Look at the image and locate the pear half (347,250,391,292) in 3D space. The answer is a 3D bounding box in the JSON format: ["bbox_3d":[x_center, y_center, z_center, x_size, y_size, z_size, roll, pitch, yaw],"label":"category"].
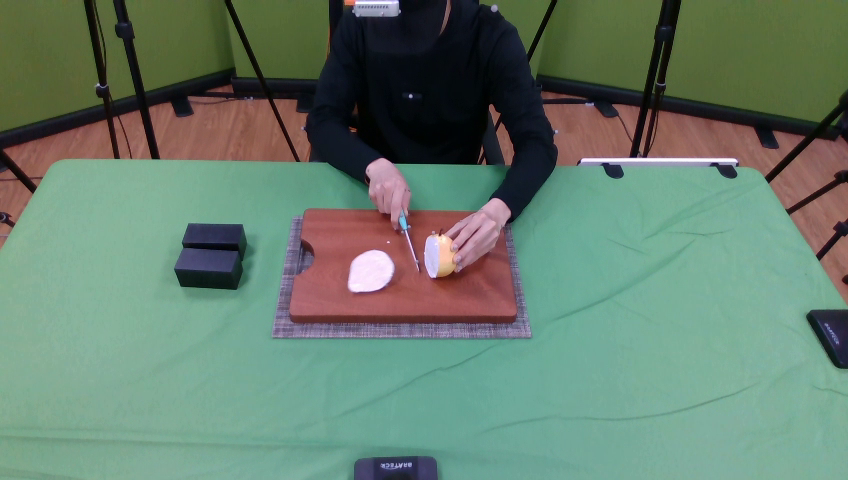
[{"bbox_3d":[-0.100,0.056,1.073,0.088,0.031,0.070,-41,96,2],"label":"pear half"}]

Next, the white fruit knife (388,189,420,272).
[{"bbox_3d":[-0.037,-0.022,1.161,0.016,0.027,0.206,-15,57,-9],"label":"white fruit knife"}]

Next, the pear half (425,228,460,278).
[{"bbox_3d":[0.037,0.015,1.082,0.056,0.110,0.076,-14,53,-19],"label":"pear half"}]
